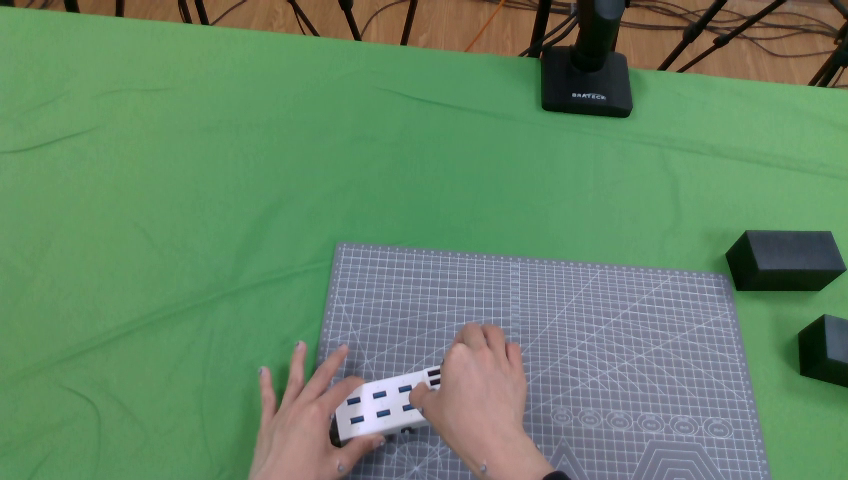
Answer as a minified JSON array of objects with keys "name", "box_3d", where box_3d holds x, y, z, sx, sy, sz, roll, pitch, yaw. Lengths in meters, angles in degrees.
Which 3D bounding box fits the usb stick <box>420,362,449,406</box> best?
[{"name":"usb stick","box_3d":[0.009,0.137,0.565,0.021,0.059,0.027,-13,58,-9]}]

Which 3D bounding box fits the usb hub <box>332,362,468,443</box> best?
[{"name":"usb hub","box_3d":[-0.024,0.156,0.587,0.125,0.025,0.049,-10,58,-10]}]
